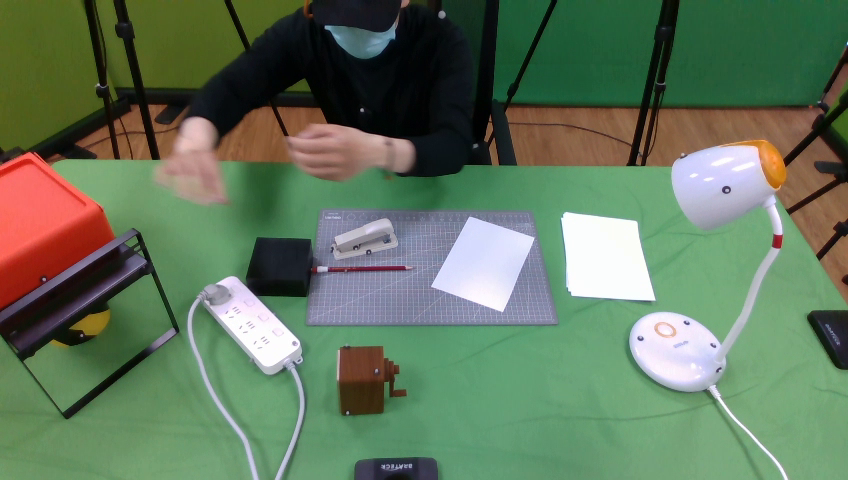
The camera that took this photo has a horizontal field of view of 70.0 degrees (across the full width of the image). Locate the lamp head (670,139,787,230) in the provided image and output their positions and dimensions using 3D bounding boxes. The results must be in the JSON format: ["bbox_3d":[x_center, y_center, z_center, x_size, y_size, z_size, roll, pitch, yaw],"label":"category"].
[{"bbox_3d":[0.415,-0.079,0.812,0.113,0.123,0.112,13,70,-37],"label":"lamp head"}]

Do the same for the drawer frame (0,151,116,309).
[{"bbox_3d":[-0.604,-0.013,0.876,0.201,0.083,0.213,31,52,23],"label":"drawer frame"}]

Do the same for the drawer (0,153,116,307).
[{"bbox_3d":[-0.601,-0.015,0.880,0.193,0.073,0.211,32,53,23],"label":"drawer"}]

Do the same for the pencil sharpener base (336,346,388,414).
[{"bbox_3d":[-0.094,0.215,0.927,0.077,0.107,0.061,-1,46,-6],"label":"pencil sharpener base"}]

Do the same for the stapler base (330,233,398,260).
[{"bbox_3d":[-0.116,0.004,1.181,0.131,0.024,0.041,-13,47,-14],"label":"stapler base"}]

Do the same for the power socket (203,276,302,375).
[{"bbox_3d":[-0.297,0.141,1.034,0.072,0.033,0.225,-34,58,-30],"label":"power socket"}]

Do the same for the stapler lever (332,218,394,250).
[{"bbox_3d":[-0.116,-0.012,1.162,0.118,0.040,0.026,-13,47,-14],"label":"stapler lever"}]

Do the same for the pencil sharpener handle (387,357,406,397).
[{"bbox_3d":[-0.041,0.209,0.919,0.031,0.068,0.036,-1,25,-6],"label":"pencil sharpener handle"}]

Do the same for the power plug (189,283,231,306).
[{"bbox_3d":[-0.368,0.099,1.037,0.072,0.053,0.035,-24,52,-26],"label":"power plug"}]

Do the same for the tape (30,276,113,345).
[{"bbox_3d":[-0.593,0.117,1.021,0.117,0.053,0.116,2,45,-2],"label":"tape"}]

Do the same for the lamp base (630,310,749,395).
[{"bbox_3d":[0.447,0.142,0.984,0.161,0.181,0.178,-24,55,-24],"label":"lamp base"}]

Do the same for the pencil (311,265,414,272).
[{"bbox_3d":[-0.115,0.055,1.142,0.194,0.012,0.012,1,46,-5],"label":"pencil"}]
